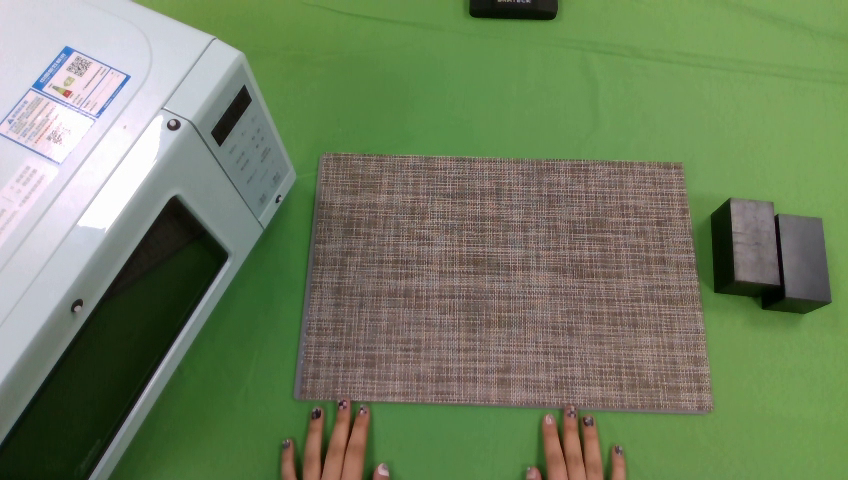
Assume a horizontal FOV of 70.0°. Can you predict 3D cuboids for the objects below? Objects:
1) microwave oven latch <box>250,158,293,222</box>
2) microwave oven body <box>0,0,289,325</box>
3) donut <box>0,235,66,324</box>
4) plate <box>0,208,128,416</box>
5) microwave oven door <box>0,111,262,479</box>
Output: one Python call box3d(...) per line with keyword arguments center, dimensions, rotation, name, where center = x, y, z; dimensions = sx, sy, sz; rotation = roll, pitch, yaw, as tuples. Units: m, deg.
box3d(center=(-0.181, -0.062, 0.704), dimensions=(0.030, 0.029, 0.079), rotation=(25, 73, 7), name="microwave oven latch")
box3d(center=(-0.393, -0.009, 0.579), dimensions=(0.325, 0.261, 0.440), rotation=(25, 73, 7), name="microwave oven body")
box3d(center=(-0.414, 0.039, 0.611), dimensions=(0.099, 0.048, 0.098), rotation=(2, 55, -2), name="donut")
box3d(center=(-0.387, 0.069, 0.596), dimensions=(0.209, 0.038, 0.207), rotation=(-2, 68, 6), name="plate")
box3d(center=(-0.279, 0.086, 0.542), dimensions=(0.039, 0.245, 0.354), rotation=(25, 72, 9), name="microwave oven door")
